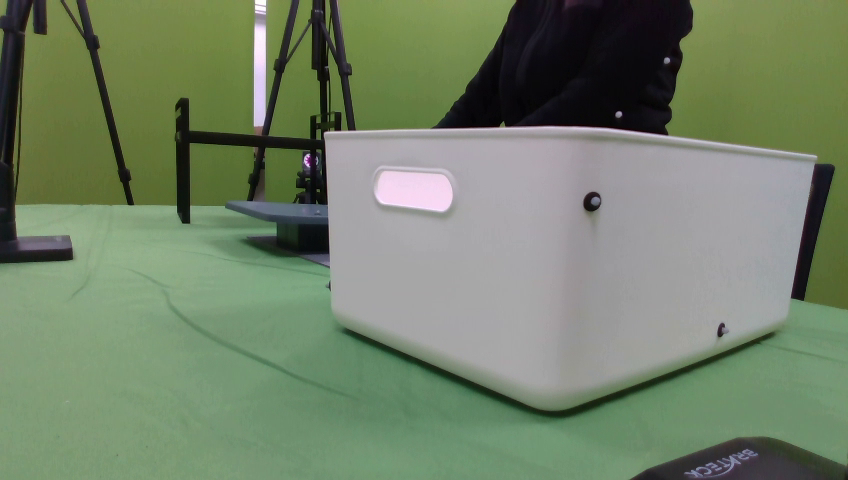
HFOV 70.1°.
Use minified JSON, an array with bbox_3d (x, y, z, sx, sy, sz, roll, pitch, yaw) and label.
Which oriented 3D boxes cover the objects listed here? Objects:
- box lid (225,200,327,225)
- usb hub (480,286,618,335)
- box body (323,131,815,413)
[{"bbox_3d":[-0.112,-0.044,0.997,0.373,0.015,0.262,-1,8,-33],"label":"box lid"},{"bbox_3d":[0.111,0.059,0.526,0.126,0.025,0.049,-2,7,-36],"label":"usb hub"},{"bbox_3d":[0.125,0.000,0.510,0.366,0.160,0.253,-4,9,-40],"label":"box body"}]
